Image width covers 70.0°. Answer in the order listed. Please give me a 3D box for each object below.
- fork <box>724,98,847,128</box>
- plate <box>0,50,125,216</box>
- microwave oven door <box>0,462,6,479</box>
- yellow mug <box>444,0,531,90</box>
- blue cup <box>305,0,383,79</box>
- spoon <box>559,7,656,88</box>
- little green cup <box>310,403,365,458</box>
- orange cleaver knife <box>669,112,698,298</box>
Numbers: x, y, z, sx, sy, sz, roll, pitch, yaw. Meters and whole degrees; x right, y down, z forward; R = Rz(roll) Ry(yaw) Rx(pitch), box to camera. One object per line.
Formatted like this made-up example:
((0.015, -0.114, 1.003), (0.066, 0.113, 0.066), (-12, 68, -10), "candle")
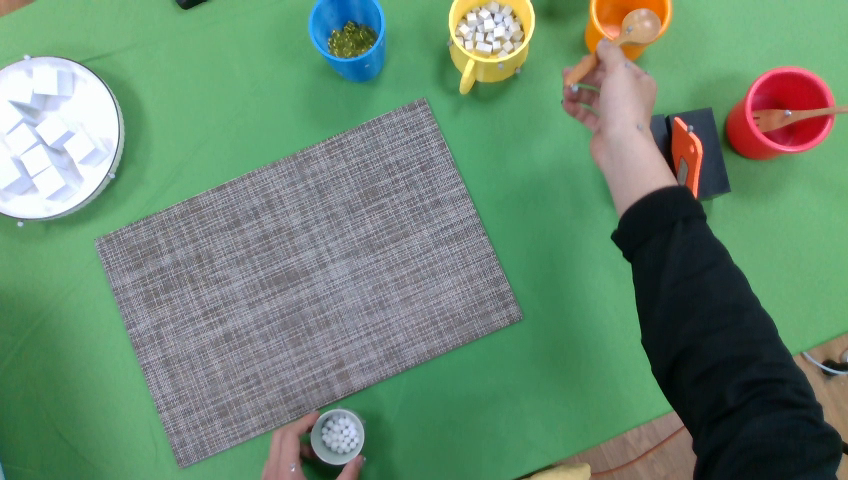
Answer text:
((0.440, -0.146, 0.662), (0.206, 0.019, 0.028), (1, 80, 45), "fork")
((-0.471, -0.131, 0.756), (0.207, 0.039, 0.207), (0, 85, 3), "plate")
((-0.520, 0.269, 0.601), (0.039, 0.244, 0.354), (-21, 84, 1), "microwave oven door")
((0.069, -0.240, 0.727), (0.100, 0.064, 0.130), (25, 87, 4), "yellow mug")
((-0.087, -0.237, 0.716), (0.092, 0.100, 0.092), (0, 86, 2), "blue cup")
((0.190, -0.201, 0.625), (0.041, 0.022, 0.193), (47, 52, 4), "spoon")
((-0.098, 0.221, 0.709), (0.061, 0.039, 0.061), (0, 85, 6), "little green cup")
((0.293, -0.037, 0.691), (0.012, 0.076, 0.213), (-8, 113, 4), "orange cleaver knife")
